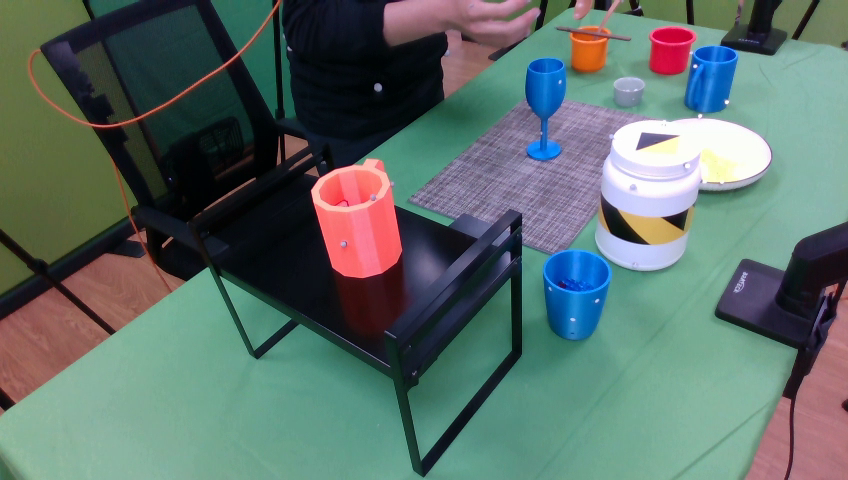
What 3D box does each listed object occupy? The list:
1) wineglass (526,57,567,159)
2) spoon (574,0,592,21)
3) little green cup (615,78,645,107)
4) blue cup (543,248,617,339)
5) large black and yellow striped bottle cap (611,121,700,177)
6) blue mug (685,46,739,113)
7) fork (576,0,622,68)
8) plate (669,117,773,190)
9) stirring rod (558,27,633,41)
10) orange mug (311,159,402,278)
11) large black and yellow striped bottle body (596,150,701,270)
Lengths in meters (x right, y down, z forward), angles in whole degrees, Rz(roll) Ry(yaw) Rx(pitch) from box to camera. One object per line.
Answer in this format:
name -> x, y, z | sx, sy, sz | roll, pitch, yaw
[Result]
wineglass -> 0.221, -0.236, 1.097 | 0.074, 0.173, 0.073 | -5, 41, 4
spoon -> 0.286, -0.481, 1.061 | 0.022, 0.193, 0.041 | 1, 5, -26
little green cup -> 0.426, -0.306, 1.257 | 0.061, 0.039, 0.061 | -4, 40, 4
blue cup -> 0.199, 0.076, 0.797 | 0.092, 0.100, 0.092 | -4, 39, 4
large black and yellow striped bottle cap -> 0.315, -0.126, 0.823 | 0.115, 0.019, 0.114 | -4, 42, 4
blue mug -> 0.556, -0.310, 1.190 | 0.117, 0.106, 0.081 | -32, 46, -25
fork -> 0.409, -0.484, 1.381 | 0.028, 0.019, 0.207 | 37, 101, 45
plate -> 0.495, -0.148, 1.063 | 0.209, 0.038, 0.208 | -5, 40, 4
stirring rod -> 0.381, -0.463, 1.356 | 0.175, 0.006, 0.014 | 21, 47, 30
orange mug -> -0.069, -0.034, 0.694 | 0.083, 0.101, 0.126 | 5, 46, 16
large black and yellow striped bottle body -> 0.323, -0.062, 0.877 | 0.131, 0.185, 0.130 | -5, 40, 4
